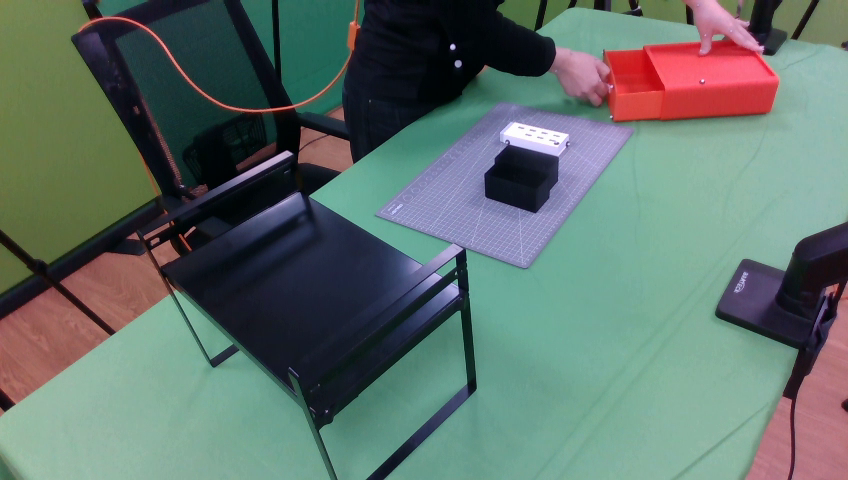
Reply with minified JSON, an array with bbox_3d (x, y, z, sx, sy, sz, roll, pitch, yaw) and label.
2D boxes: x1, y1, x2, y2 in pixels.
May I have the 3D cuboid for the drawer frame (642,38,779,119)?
[{"bbox_3d":[0.564,-0.329,1.226,0.213,0.083,0.201,-2,41,5],"label":"drawer frame"}]

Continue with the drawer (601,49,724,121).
[{"bbox_3d":[0.478,-0.324,1.236,0.211,0.073,0.193,-1,41,7],"label":"drawer"}]

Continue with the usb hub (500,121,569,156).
[{"bbox_3d":[0.213,-0.198,1.166,0.124,0.025,0.049,20,48,28],"label":"usb hub"}]
